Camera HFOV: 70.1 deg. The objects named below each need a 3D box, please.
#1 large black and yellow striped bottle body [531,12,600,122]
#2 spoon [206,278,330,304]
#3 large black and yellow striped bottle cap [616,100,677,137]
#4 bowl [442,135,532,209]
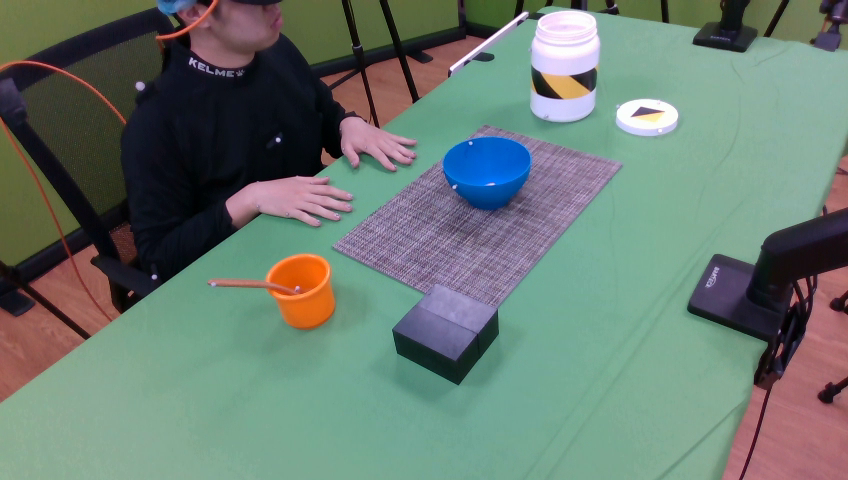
[{"bbox_3d":[0.279,-0.344,1.202,0.131,0.185,0.130,-4,41,4],"label":"large black and yellow striped bottle body"},{"bbox_3d":[-0.207,0.066,0.824,0.041,0.195,0.021,34,100,41],"label":"spoon"},{"bbox_3d":[0.438,-0.241,1.190,0.115,0.019,0.114,-4,42,4],"label":"large black and yellow striped bottle cap"},{"bbox_3d":[0.108,-0.106,1.026,0.151,0.077,0.150,-4,41,4],"label":"bowl"}]
